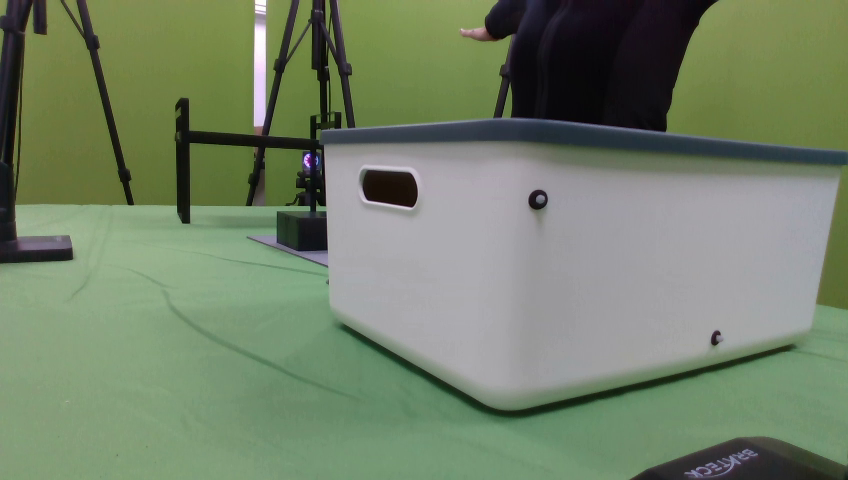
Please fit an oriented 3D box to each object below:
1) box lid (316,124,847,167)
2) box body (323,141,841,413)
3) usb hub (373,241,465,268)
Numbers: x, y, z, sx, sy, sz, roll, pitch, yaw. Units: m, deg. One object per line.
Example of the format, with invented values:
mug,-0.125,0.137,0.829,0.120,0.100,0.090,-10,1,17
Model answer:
box lid,0.127,-0.072,0.491,0.373,0.015,0.262,-2,9,-33
box body,0.123,0.001,0.499,0.366,0.160,0.253,-2,9,-33
usb hub,-0.005,0.018,0.826,0.126,0.025,0.049,-3,9,-39
